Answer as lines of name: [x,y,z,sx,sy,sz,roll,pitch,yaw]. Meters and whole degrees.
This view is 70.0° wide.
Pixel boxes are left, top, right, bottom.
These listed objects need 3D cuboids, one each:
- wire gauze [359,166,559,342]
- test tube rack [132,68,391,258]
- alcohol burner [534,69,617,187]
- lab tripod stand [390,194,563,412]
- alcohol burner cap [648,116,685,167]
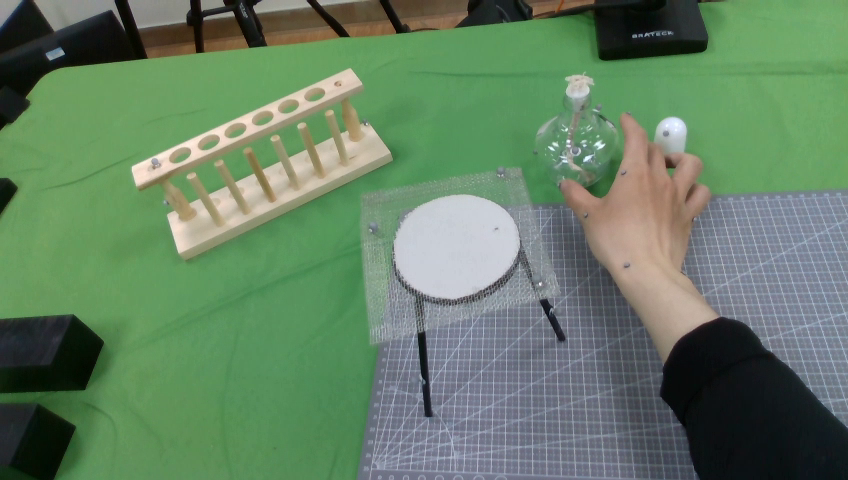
wire gauze: [0.017,0.002,0.405,0.121,0.011,0.123,-11,52,4]
test tube rack: [-0.163,-0.082,0.634,0.242,0.086,0.066,-27,52,-9]
alcohol burner: [0.142,-0.108,0.569,0.078,0.120,0.077,-6,49,7]
lab tripod stand: [0.031,0.045,0.456,0.148,0.133,0.147,-5,53,8]
alcohol burner cap: [0.237,-0.098,0.587,0.034,0.048,0.033,-6,52,8]
